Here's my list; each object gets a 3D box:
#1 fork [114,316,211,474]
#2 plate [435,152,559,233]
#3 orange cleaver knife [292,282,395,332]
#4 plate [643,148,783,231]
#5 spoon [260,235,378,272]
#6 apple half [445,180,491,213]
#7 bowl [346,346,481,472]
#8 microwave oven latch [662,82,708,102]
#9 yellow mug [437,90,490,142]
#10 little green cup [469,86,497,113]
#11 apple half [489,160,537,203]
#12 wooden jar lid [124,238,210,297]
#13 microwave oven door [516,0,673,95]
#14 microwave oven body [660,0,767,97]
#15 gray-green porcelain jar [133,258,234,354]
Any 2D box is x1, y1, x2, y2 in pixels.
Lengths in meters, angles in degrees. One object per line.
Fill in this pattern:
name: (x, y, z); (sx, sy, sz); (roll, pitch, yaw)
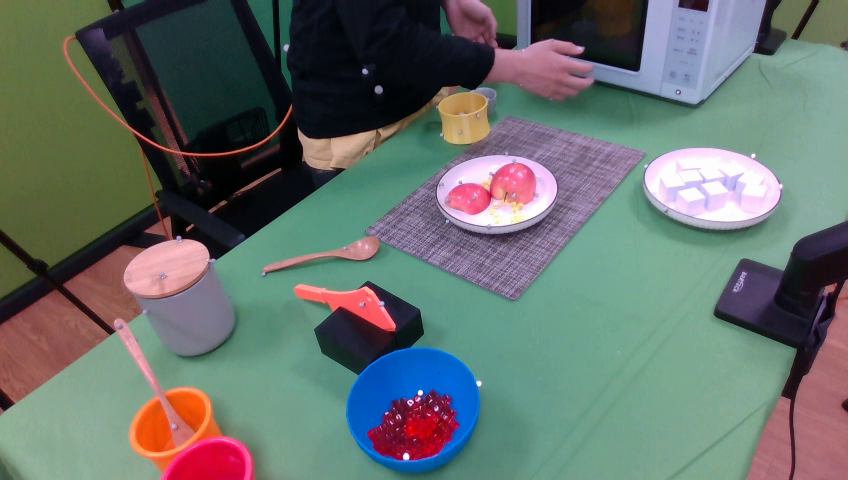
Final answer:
fork: (-0.309, 0.179, 0.708); (0.028, 0.018, 0.207); (-30, 89, -23)
plate: (0.124, -0.078, 1.026); (0.209, 0.038, 0.208); (-4, 40, 4)
orange cleaver knife: (-0.116, 0.091, 0.835); (0.209, 0.077, 0.012); (2, 32, 48)
plate: (0.464, -0.080, 0.986); (0.207, 0.039, 0.206); (-4, 41, 4)
spoon: (-0.168, 0.024, 0.966); (0.194, 0.022, 0.041); (-10, 57, -3)
apple half: (0.076, -0.083, 1.029); (0.081, 0.033, 0.081); (-2, 42, 2)
bowl: (-0.008, 0.205, 0.691); (0.151, 0.077, 0.150); (-4, 40, 4)
microwave oven latch: (0.518, -0.298, 1.202); (0.078, 0.029, 0.030); (28, 53, 35)
yellow mug: (0.070, -0.257, 1.224); (0.100, 0.064, 0.129); (-33, 44, -25)
little green cup: (0.124, -0.298, 1.284); (0.061, 0.039, 0.061); (-3, 39, 3)
apple half: (0.154, -0.106, 1.030); (0.080, 0.053, 0.075); (22, 46, 31)
wooden jar lid: (-0.335, 0.039, 0.794); (0.108, 0.021, 0.108); (-2, 40, 2)
microwave oven door: (0.344, -0.458, 1.256); (0.353, 0.245, 0.039); (26, 51, 33)
microwave oven body: (0.473, -0.516, 1.313); (0.438, 0.261, 0.327); (26, 51, 34)
gray-green porcelain jar: (-0.328, 0.087, 0.836); (0.106, 0.127, 0.105); (-4, 41, 4)
